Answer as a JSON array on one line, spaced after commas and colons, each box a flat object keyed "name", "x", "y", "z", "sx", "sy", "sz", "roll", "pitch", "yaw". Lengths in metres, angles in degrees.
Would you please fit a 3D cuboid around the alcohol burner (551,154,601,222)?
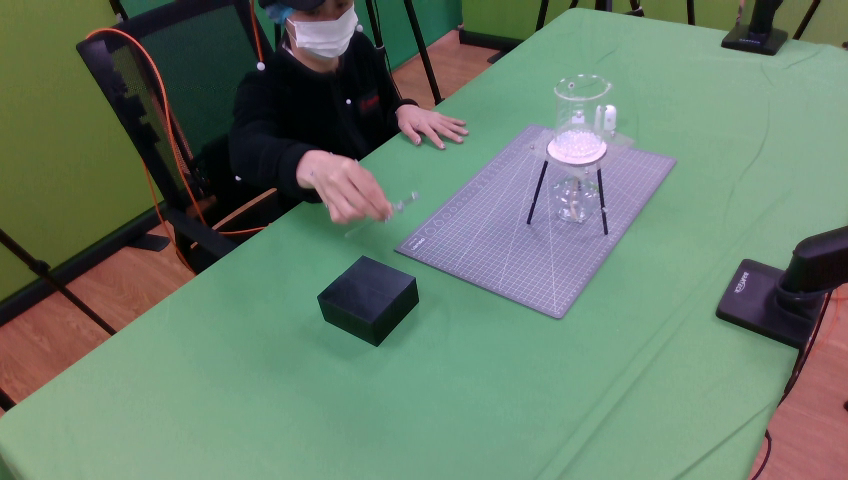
[{"name": "alcohol burner", "x": 0.244, "y": -0.087, "z": 0.966, "sx": 0.078, "sy": 0.119, "sz": 0.077, "roll": -3, "pitch": 40, "yaw": 3}]

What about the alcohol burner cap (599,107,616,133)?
[{"name": "alcohol burner cap", "x": 0.361, "y": -0.239, "z": 1.188, "sx": 0.034, "sy": 0.048, "sz": 0.033, "roll": -4, "pitch": 40, "yaw": 4}]

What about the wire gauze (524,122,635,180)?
[{"name": "wire gauze", "x": 0.233, "y": -0.141, "z": 0.913, "sx": 0.122, "sy": 0.011, "sz": 0.124, "roll": -31, "pitch": 42, "yaw": -26}]

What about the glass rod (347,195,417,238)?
[{"name": "glass rod", "x": -0.059, "y": -0.027, "z": 0.779, "sx": 0.008, "sy": 0.008, "sz": 0.198, "roll": -40, "pitch": 8, "yaw": -32}]

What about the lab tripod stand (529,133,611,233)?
[{"name": "lab tripod stand", "x": 0.236, "y": -0.089, "z": 0.953, "sx": 0.148, "sy": 0.132, "sz": 0.147, "roll": -5, "pitch": 41, "yaw": 5}]

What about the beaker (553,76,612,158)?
[{"name": "beaker", "x": 0.230, "y": -0.178, "z": 0.882, "sx": 0.084, "sy": 0.101, "sz": 0.073, "roll": -9, "pitch": 41, "yaw": 1}]
